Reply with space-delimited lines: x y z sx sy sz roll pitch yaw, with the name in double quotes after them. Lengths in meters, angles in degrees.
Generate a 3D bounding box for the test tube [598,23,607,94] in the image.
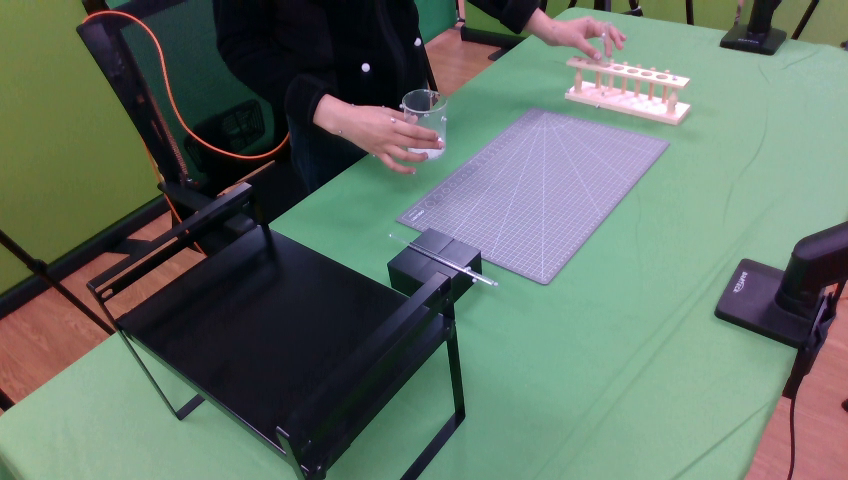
0.356 -0.359 1.206 0.017 0.151 0.017 -8 43 8 "test tube"

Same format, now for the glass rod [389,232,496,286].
0.022 0.025 0.878 0.198 0.008 0.008 25 50 33 "glass rod"

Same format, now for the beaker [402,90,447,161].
0.003 -0.192 1.018 0.074 0.100 0.084 11 44 12 "beaker"

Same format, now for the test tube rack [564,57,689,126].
0.411 -0.311 1.230 0.240 0.085 0.067 23 50 31 "test tube rack"
